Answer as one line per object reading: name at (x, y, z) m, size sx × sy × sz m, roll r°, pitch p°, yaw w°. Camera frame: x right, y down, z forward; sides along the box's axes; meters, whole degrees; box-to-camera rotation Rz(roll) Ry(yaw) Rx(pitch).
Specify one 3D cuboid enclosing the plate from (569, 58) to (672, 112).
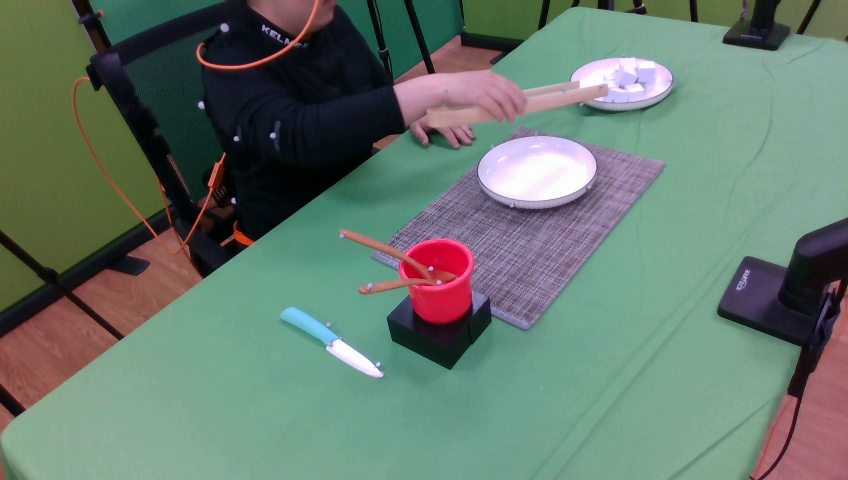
plate at (0.411, -0.323, 1.274) m, size 0.209 × 0.038 × 0.208 m, roll -5°, pitch 41°, yaw 5°

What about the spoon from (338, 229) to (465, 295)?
spoon at (-0.025, 0.026, 0.776) m, size 0.021 × 0.195 × 0.041 m, roll -41°, pitch 34°, yaw 32°

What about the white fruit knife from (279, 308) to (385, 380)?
white fruit knife at (-0.130, 0.143, 0.845) m, size 0.205 × 0.016 × 0.027 m, roll 25°, pitch 79°, yaw 32°

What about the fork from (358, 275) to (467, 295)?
fork at (-0.009, 0.056, 0.739) m, size 0.028 × 0.018 × 0.209 m, roll 48°, pitch 23°, yaw 26°

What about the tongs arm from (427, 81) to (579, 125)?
tongs arm at (0.155, -0.254, 1.102) m, size 0.390 × 0.028 × 0.028 m, roll -18°, pitch 31°, yaw -32°

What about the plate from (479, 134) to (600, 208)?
plate at (0.202, -0.117, 1.065) m, size 0.207 × 0.039 × 0.206 m, roll -5°, pitch 40°, yaw 5°

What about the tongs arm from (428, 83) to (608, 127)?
tongs arm at (0.178, -0.242, 1.069) m, size 0.387 × 0.026 × 0.050 m, roll -18°, pitch 27°, yaw -31°
